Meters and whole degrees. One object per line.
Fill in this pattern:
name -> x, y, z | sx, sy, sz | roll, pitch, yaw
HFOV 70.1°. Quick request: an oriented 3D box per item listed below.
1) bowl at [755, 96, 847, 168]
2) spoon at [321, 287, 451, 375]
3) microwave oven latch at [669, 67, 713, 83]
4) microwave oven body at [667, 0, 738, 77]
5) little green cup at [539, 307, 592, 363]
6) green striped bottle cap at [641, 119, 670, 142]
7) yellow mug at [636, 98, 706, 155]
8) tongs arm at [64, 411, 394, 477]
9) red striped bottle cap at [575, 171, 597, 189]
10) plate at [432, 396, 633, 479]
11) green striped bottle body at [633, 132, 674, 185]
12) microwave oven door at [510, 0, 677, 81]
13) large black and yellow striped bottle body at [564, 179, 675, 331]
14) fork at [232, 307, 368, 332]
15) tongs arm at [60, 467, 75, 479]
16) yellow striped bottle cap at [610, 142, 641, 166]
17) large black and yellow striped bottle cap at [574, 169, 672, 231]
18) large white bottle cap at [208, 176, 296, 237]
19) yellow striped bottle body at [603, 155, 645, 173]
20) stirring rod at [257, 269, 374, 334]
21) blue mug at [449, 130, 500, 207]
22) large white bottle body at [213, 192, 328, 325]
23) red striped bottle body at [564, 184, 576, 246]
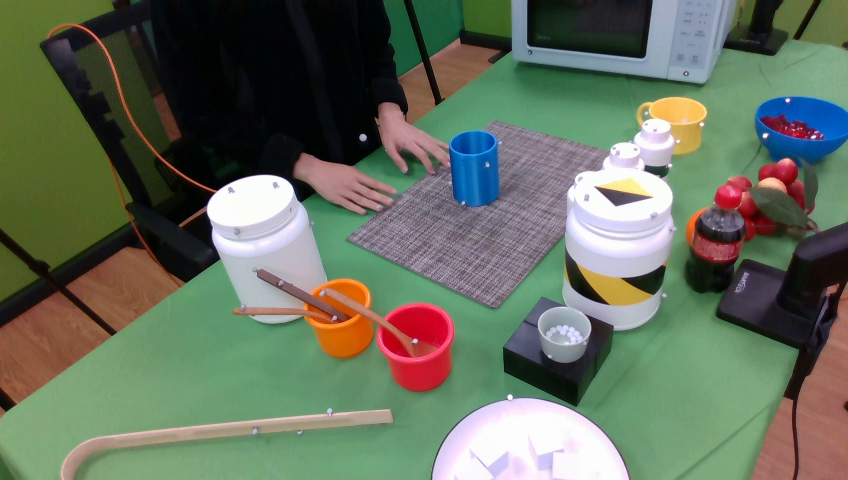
bowl -> 0.645, -0.177, 1.041 | 0.151, 0.077, 0.150 | -5, 40, 4
spoon -> -0.046, 0.111, 0.757 | 0.194, 0.021, 0.041 | 38, 47, -15
microwave oven latch -> 0.556, -0.348, 1.262 | 0.078, 0.029, 0.030 | 15, 46, 26
microwave oven body -> 0.462, -0.552, 1.369 | 0.439, 0.261, 0.326 | 15, 46, 26
little green cup -> 0.168, 0.115, 0.721 | 0.061, 0.039, 0.061 | -4, 42, 4
green striped bottle cap -> 0.371, -0.175, 0.968 | 0.044, 0.020, 0.044 | -5, 42, 5
yellow mug -> 0.453, -0.217, 1.128 | 0.100, 0.064, 0.129 | -34, 46, -27
tongs arm -> -0.228, 0.241, 0.715 | 0.385, 0.026, 0.050 | -5, 43, 4
red striped bottle cap -> 0.242, -0.081, 0.876 | 0.044, 0.018, 0.044 | -5, 44, 5
plate -> 0.112, 0.261, 0.634 | 0.209, 0.038, 0.208 | -5, 40, 4
green striped bottle body -> 0.376, -0.135, 1.001 | 0.063, 0.120, 0.063 | -5, 40, 5
microwave oven door -> 0.354, -0.478, 1.290 | 0.353, 0.245, 0.039 | 15, 45, 25
large black and yellow striped bottle body -> 0.254, 0.014, 0.793 | 0.131, 0.185, 0.130 | -5, 40, 4
fork -> -0.152, 0.101, 0.781 | 0.209, 0.018, 0.028 | 18, 18, -46
tongs arm -> -0.239, 0.301, 0.648 | 0.386, 0.028, 0.028 | 6, 49, 16
yellow striped bottle cap -> 0.308, -0.131, 0.925 | 0.044, 0.019, 0.044 | -4, 45, 5
large black and yellow striped bottle cap -> 0.242, -0.051, 0.738 | 0.115, 0.019, 0.114 | -4, 37, 3
large white bottle cap -> -0.229, -0.048, 0.809 | 0.115, 0.018, 0.114 | -4, 40, 4
yellow striped bottle body -> 0.314, -0.091, 0.957 | 0.063, 0.121, 0.062 | -4, 40, 4
stirring rod -> -0.143, 0.084, 0.808 | 0.177, 0.006, 0.014 | 30, 44, -19
blue mug -> 0.089, -0.132, 1.049 | 0.082, 0.106, 0.116 | 0, 40, 9
large white bottle body -> -0.220, 0.016, 0.864 | 0.130, 0.185, 0.130 | -5, 40, 4
red striped bottle body -> 0.247, -0.041, 0.910 | 0.063, 0.120, 0.062 | -3, 39, 3
